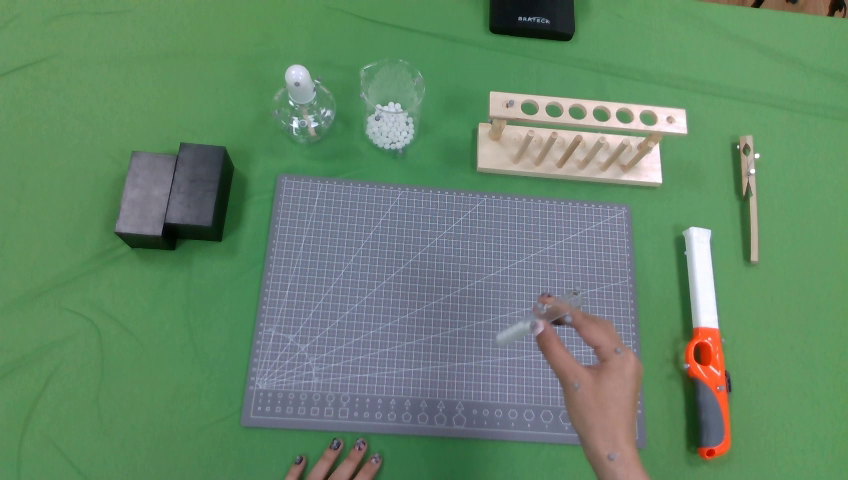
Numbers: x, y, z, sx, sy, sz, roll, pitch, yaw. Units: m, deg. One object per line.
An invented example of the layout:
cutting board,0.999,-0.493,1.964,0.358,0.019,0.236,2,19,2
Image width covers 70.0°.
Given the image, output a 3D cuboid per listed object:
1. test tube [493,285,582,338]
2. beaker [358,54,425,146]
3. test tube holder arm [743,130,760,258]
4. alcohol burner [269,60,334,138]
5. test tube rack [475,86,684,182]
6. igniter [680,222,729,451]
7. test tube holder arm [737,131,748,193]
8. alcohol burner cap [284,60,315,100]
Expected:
test tube,0.098,0.068,0.552,0.017,0.150,0.017,7,68,-17
beaker,-0.044,-0.168,0.741,0.084,0.101,0.074,31,71,6
test tube holder arm,0.431,-0.063,0.798,0.013,0.015,0.177,-7,68,29
alcohol burner,-0.147,-0.173,0.724,0.078,0.119,0.077,2,69,-5
test tube rack,0.191,-0.131,0.762,0.243,0.085,0.066,4,71,-5
igniter,0.335,0.110,0.728,0.057,0.025,0.275,9,71,-14
test tube holder arm,0.429,-0.105,0.815,0.010,0.015,0.087,-5,69,29
alcohol burner cap,-0.143,-0.185,0.690,0.034,0.048,0.033,1,77,-3
